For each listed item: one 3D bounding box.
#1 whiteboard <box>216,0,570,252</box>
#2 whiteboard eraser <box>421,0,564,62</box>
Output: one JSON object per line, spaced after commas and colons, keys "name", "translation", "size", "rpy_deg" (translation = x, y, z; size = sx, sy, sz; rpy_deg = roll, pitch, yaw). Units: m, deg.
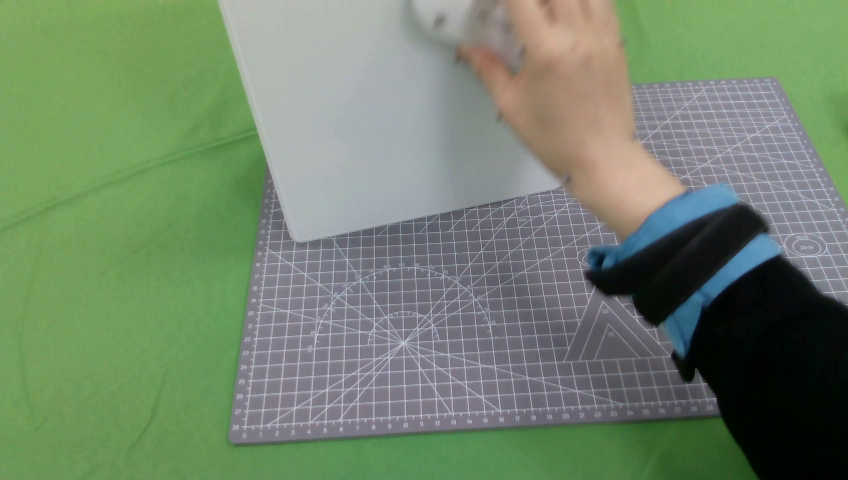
{"name": "whiteboard", "translation": [-0.023, -0.174, 0.427], "size": [0.217, 0.308, 0.142], "rpy_deg": [-12, 37, -5]}
{"name": "whiteboard eraser", "translation": [0.044, -0.144, 0.378], "size": [0.102, 0.041, 0.018], "rpy_deg": [15, 28, -29]}
